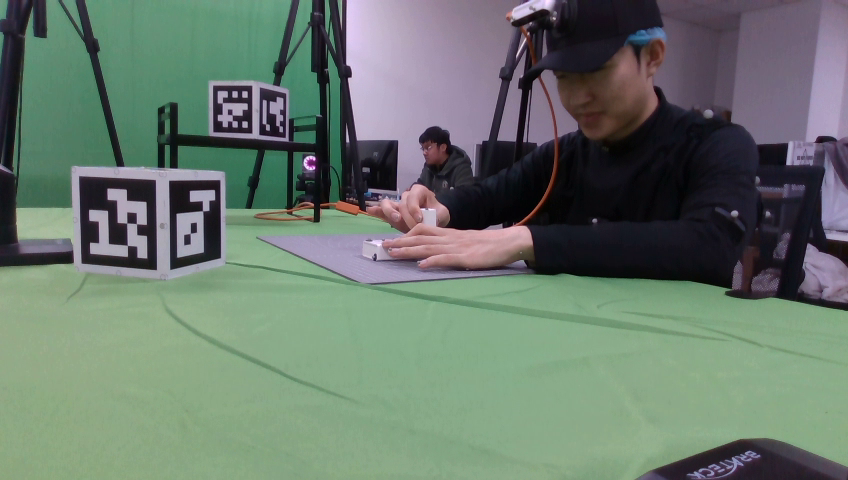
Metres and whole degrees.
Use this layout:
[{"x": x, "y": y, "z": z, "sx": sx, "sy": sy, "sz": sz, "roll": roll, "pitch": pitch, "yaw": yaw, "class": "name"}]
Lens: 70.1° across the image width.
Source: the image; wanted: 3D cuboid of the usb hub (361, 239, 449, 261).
[{"x": -0.027, "y": 0.014, "z": 0.895, "sx": 0.126, "sy": 0.025, "sz": 0.049, "roll": 0, "pitch": 7, "yaw": -33, "class": "usb hub"}]

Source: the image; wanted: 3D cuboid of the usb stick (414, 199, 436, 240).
[{"x": 0.001, "y": -0.031, "z": 0.900, "sx": 0.027, "sy": 0.059, "sz": 0.021, "roll": 2, "pitch": 19, "yaw": 30, "class": "usb stick"}]
